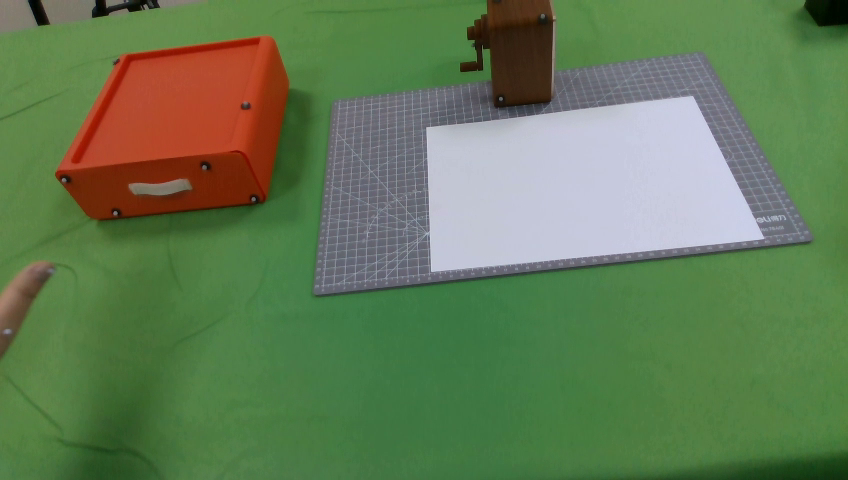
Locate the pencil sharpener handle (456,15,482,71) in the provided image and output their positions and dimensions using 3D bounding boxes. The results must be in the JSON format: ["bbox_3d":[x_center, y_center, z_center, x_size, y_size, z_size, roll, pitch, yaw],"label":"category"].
[{"bbox_3d":[0.048,-0.216,0.673,0.030,0.068,0.035,-5,56,6],"label":"pencil sharpener handle"}]

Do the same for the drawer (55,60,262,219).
[{"bbox_3d":[-0.273,-0.128,0.689,0.194,0.074,0.209,-6,49,5],"label":"drawer"}]

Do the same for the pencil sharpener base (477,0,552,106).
[{"bbox_3d":[0.101,-0.211,0.677,0.076,0.108,0.061,-5,50,6],"label":"pencil sharpener base"}]

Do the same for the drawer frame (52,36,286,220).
[{"bbox_3d":[-0.274,-0.130,0.689,0.201,0.083,0.211,-7,49,4],"label":"drawer frame"}]

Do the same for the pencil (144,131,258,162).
[{"bbox_3d":[-0.269,-0.113,0.714,0.192,0.012,0.012,15,54,27],"label":"pencil"}]
